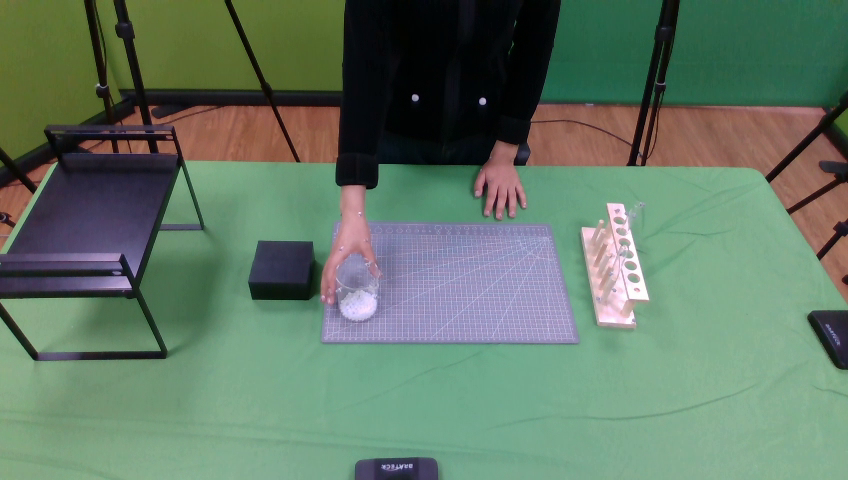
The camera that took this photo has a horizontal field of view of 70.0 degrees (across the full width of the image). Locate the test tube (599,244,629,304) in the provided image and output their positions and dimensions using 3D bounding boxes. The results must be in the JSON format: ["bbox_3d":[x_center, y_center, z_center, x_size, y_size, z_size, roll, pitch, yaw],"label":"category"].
[{"bbox_3d":[0.331,0.061,1.059,0.017,0.151,0.017,1,46,-1],"label":"test tube"}]

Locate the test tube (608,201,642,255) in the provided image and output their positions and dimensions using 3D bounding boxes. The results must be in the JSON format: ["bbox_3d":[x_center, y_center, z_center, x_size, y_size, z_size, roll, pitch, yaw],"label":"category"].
[{"bbox_3d":[0.374,-0.019,1.134,0.017,0.151,0.017,3,52,-4],"label":"test tube"}]

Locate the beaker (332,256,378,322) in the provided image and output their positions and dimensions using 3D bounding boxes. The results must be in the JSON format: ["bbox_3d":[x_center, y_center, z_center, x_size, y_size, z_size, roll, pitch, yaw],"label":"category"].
[{"bbox_3d":[-0.114,0.089,1.047,0.083,0.101,0.074,30,52,21],"label":"beaker"}]

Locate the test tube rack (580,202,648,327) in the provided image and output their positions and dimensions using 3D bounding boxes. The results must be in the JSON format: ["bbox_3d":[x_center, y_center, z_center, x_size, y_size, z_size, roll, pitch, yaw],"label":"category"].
[{"bbox_3d":[0.352,0.040,1.143,0.067,0.085,0.241,4,46,-1],"label":"test tube rack"}]
